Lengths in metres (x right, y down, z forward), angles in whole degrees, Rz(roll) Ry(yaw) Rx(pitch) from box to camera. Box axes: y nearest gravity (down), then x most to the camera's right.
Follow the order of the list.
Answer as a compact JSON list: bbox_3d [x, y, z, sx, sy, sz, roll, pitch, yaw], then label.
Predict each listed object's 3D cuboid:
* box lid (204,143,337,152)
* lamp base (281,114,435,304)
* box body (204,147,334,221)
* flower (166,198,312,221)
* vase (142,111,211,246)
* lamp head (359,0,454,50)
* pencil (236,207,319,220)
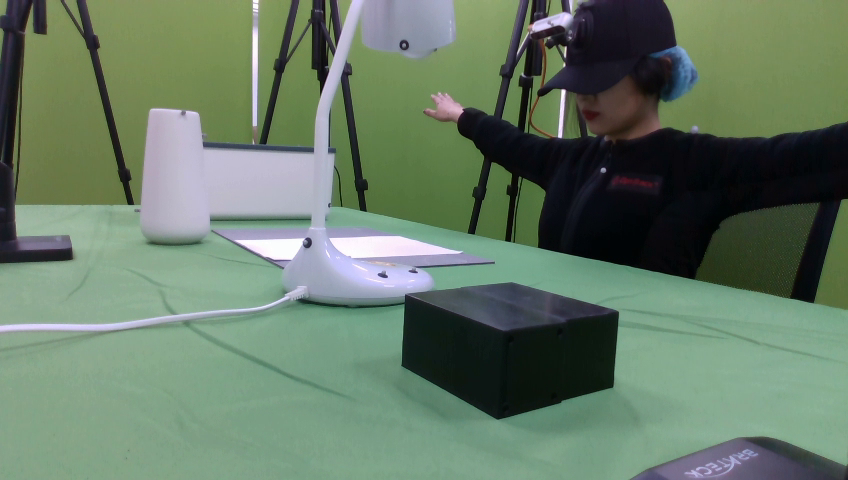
[{"bbox_3d":[-0.407,-0.209,1.370,0.373,0.015,0.262,-3,9,-30],"label":"box lid"},{"bbox_3d":[-0.071,-0.035,0.614,0.160,0.180,0.180,6,10,27],"label":"lamp base"},{"bbox_3d":[-0.413,-0.134,1.379,0.366,0.160,0.253,-2,9,-31],"label":"box body"},{"bbox_3d":[-0.397,-0.058,1.355,0.044,0.038,0.364,-38,-25,32],"label":"flower"},{"bbox_3d":[-0.378,-0.093,0.920,0.098,0.200,0.098,2,9,0],"label":"vase"},{"bbox_3d":[-0.024,-0.283,0.674,0.112,0.123,0.112,-3,38,3],"label":"lamp head"},{"bbox_3d":[-0.347,-0.062,1.437,0.194,0.012,0.012,7,7,-6],"label":"pencil"}]
